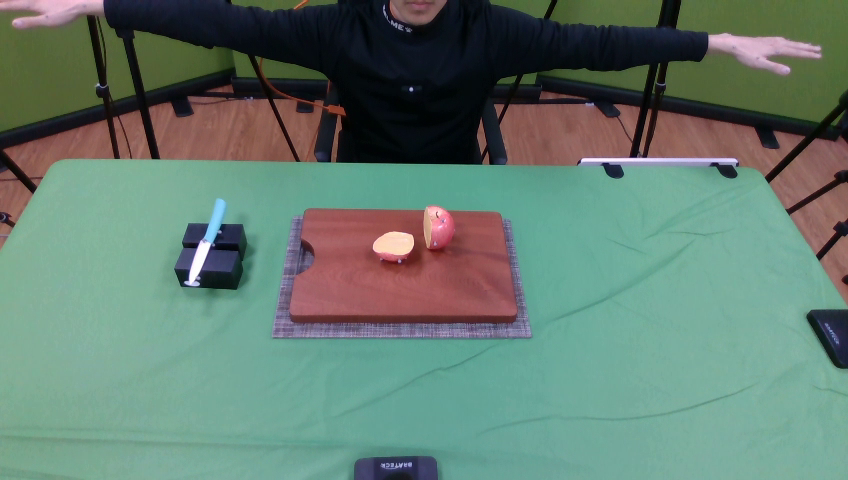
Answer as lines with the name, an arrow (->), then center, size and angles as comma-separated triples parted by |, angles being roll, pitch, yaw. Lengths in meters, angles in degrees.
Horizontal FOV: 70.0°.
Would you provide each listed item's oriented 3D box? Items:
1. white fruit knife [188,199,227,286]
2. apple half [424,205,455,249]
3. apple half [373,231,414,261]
white fruit knife -> -0.393, 0.001, 1.104 | 0.027, 0.016, 0.206 | -3, 50, 9
apple half -> 0.030, -0.023, 1.144 | 0.053, 0.075, 0.080 | -2, 42, -11
apple half -> -0.053, 0.017, 1.127 | 0.081, 0.033, 0.081 | -3, 33, 2
